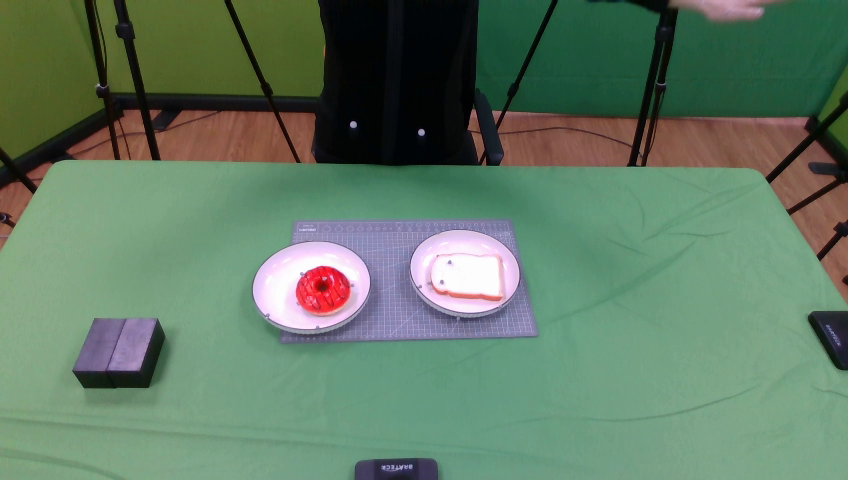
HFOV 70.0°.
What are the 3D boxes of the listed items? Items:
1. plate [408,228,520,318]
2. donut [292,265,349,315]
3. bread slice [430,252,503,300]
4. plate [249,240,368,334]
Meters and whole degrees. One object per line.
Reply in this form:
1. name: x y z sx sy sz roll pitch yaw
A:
1. plate: 0.074 0.063 1.128 0.209 0.038 0.208 2 46 -2
2. donut: -0.182 0.089 1.067 0.099 0.048 0.098 3 50 -4
3. bread slice: 0.078 0.067 1.125 0.134 0.018 0.106 1 45 -3
4. plate: -0.204 0.086 1.084 0.208 0.039 0.206 2 46 -2
